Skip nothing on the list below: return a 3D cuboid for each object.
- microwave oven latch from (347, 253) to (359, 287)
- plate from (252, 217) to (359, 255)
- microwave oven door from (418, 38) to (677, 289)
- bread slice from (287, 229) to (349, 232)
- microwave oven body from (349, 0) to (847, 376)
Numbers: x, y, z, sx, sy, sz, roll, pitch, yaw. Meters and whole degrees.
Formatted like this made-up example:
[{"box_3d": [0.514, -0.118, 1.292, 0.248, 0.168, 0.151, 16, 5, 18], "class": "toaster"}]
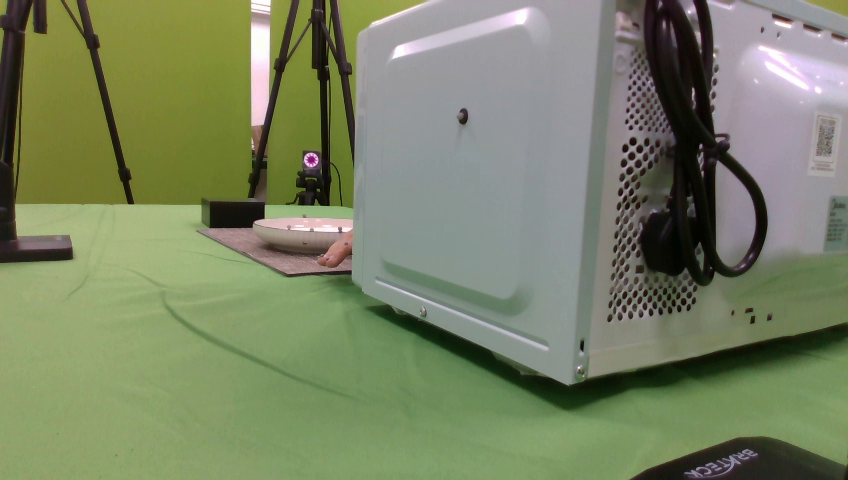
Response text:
[{"box_3d": [-0.034, 0.028, 0.581, 0.079, 0.029, 0.030, -1, 7, -31], "class": "microwave oven latch"}, {"box_3d": [-0.155, -0.007, 0.924, 0.209, 0.038, 0.209, 3, 7, 0], "class": "plate"}, {"box_3d": [0.158, -0.078, 0.684, 0.358, 0.243, 0.039, -2, 9, -32], "class": "microwave oven door"}, {"box_3d": [-0.153, -0.004, 0.921, 0.132, 0.019, 0.104, 0, 7, -30], "class": "bread slice"}, {"box_3d": [0.199, -0.053, 0.540, 0.444, 0.260, 0.324, -1, 7, -32], "class": "microwave oven body"}]
